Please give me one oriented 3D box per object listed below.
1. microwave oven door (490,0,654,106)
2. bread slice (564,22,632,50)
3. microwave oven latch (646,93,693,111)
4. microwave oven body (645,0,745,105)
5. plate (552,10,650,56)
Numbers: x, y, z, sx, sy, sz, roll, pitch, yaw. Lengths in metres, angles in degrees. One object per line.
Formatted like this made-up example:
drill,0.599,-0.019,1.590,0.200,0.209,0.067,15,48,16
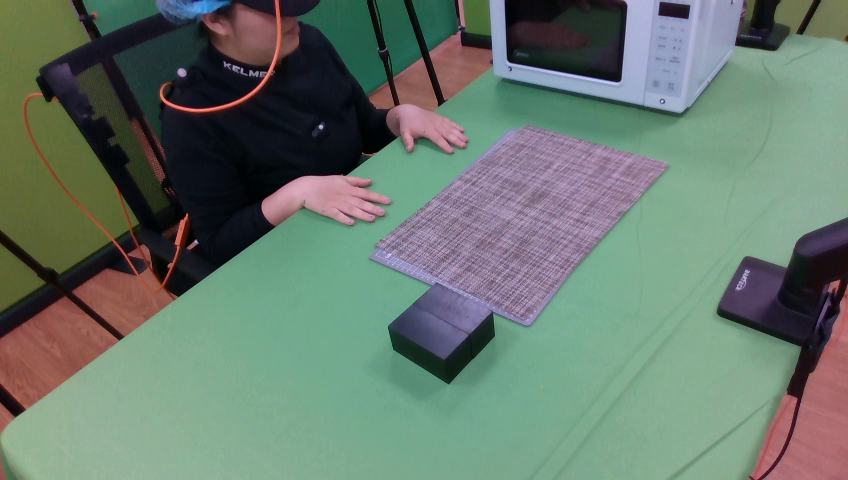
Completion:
microwave oven door,0.292,-0.420,1.228,0.353,0.245,0.039,22,49,32
bread slice,0.394,-0.454,1.344,0.105,0.019,0.130,-36,43,-26
microwave oven latch,0.477,-0.273,1.177,0.078,0.029,0.030,22,50,33
microwave oven body,0.416,-0.486,1.290,0.438,0.261,0.327,21,50,33
plate,0.390,-0.455,1.339,0.209,0.038,0.208,-5,39,5
